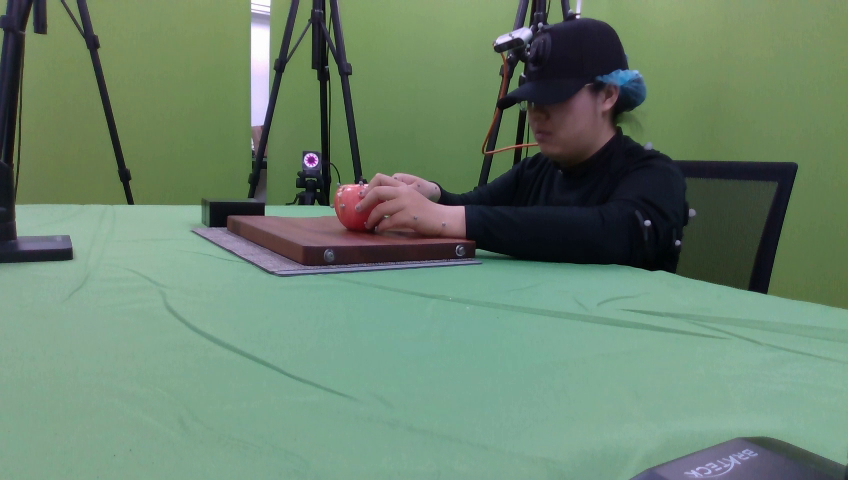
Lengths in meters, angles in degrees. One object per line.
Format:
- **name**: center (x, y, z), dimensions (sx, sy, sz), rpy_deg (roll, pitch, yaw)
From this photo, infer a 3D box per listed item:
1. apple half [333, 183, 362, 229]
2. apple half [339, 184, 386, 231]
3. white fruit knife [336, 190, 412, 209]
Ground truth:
- **apple half**: center (-0.125, -0.055, 0.974), dimensions (0.032, 0.081, 0.081), rpy_deg (6, 8, 31)
- **apple half**: center (-0.090, -0.051, 0.954), dimensions (0.053, 0.074, 0.081), rpy_deg (12, 8, 29)
- **white fruit knife**: center (-0.080, -0.071, 1.014), dimensions (0.016, 0.027, 0.208), rpy_deg (9, 4, 31)
